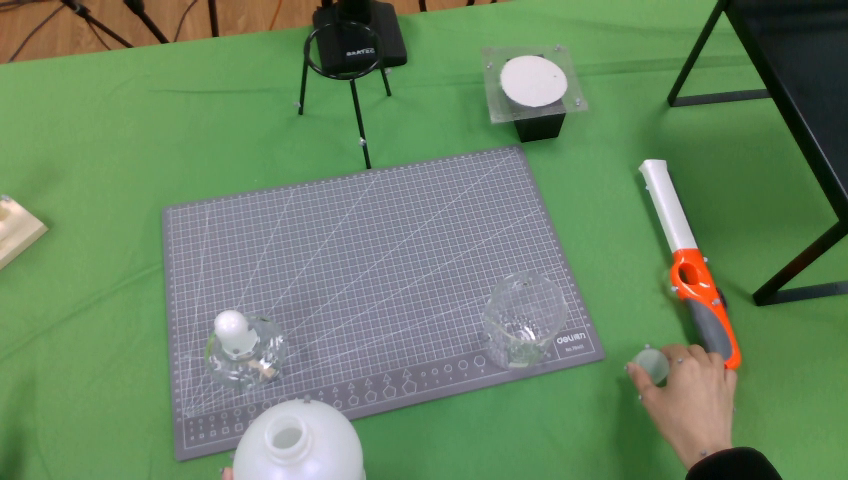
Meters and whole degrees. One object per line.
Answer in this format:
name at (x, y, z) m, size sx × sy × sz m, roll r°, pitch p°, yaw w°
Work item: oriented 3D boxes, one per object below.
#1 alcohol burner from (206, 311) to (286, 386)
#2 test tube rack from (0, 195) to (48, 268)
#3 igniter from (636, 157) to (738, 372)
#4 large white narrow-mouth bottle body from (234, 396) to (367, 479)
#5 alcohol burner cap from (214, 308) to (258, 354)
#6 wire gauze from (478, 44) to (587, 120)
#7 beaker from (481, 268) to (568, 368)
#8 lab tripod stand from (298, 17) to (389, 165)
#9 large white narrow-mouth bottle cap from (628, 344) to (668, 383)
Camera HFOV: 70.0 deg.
alcohol burner at (-0.176, 0.099, 0.588) m, size 0.078 × 0.120 × 0.077 m, roll 2°, pitch 60°, yaw -3°
test tube rack at (-0.532, 0.033, 0.627) m, size 0.066 × 0.086 × 0.241 m, roll 33°, pitch 65°, yaw 15°
igniter at (0.302, 0.019, 0.704) m, size 0.057 × 0.025 × 0.274 m, roll -1°, pitch 61°, yaw -15°
large white narrow-mouth bottle body at (-0.100, 0.185, 0.494) m, size 0.102 × 0.196 × 0.101 m, roll 1°, pitch 55°, yaw -2°
alcohol burner cap at (-0.175, 0.082, 0.556) m, size 0.034 × 0.048 × 0.033 m, roll -1°, pitch 56°, yaw 1°
wire gauze at (0.136, -0.207, 0.774) m, size 0.121 × 0.011 × 0.124 m, roll -4°, pitch 61°, yaw -5°
beaker at (0.095, 0.084, 0.615) m, size 0.084 × 0.101 × 0.073 m, roll -10°, pitch 62°, yaw -6°
lab tripod stand at (-0.091, -0.186, 0.738) m, size 0.148 × 0.132 × 0.147 m, roll 2°, pitch 62°, yaw -3°
large white narrow-mouth bottle cap at (0.237, 0.131, 0.645) m, size 0.038 × 0.024 × 0.037 m, roll 1°, pitch 61°, yaw -1°
